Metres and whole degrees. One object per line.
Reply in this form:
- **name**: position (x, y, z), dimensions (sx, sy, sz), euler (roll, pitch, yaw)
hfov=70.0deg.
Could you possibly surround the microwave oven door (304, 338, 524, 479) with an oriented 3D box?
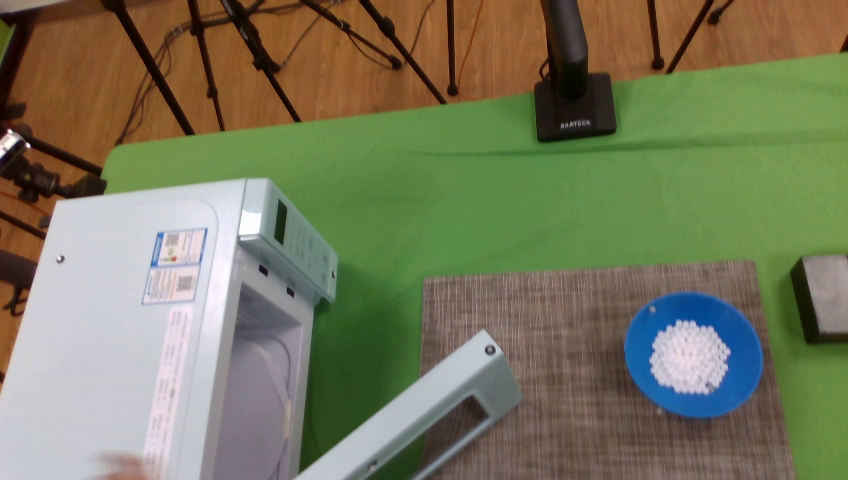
- **microwave oven door**: position (-0.047, 0.254, 0.668), dimensions (0.356, 0.246, 0.039), euler (-38, 62, -5)

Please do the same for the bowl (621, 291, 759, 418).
- **bowl**: position (0.315, 0.144, 0.735), dimensions (0.151, 0.077, 0.150), euler (-5, 65, 12)

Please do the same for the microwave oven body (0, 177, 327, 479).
- **microwave oven body**: position (-0.320, 0.182, 0.775), dimensions (0.325, 0.262, 0.438), euler (-5, 65, 11)

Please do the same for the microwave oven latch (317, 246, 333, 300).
- **microwave oven latch**: position (-0.152, 0.049, 0.904), dimensions (0.030, 0.030, 0.078), euler (-5, 65, 11)
